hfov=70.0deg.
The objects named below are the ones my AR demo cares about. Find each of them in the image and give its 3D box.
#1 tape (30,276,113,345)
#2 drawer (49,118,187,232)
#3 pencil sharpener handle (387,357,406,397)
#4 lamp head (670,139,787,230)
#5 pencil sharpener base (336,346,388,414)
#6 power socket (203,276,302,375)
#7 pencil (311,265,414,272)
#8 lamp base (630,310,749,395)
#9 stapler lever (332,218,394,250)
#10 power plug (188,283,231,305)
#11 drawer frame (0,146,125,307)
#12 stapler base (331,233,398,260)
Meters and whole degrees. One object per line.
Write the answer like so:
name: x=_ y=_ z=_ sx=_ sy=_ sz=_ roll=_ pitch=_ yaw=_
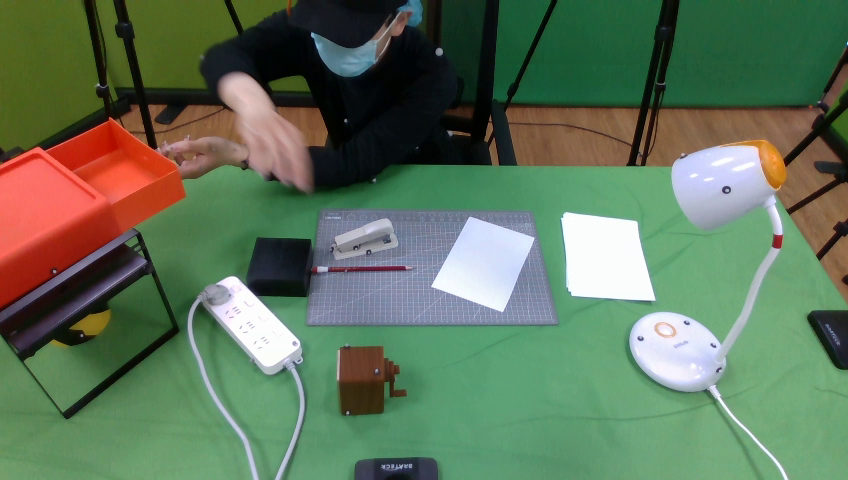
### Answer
tape: x=-0.594 y=0.117 z=1.022 sx=0.117 sy=0.053 sz=0.116 roll=2 pitch=45 yaw=-2
drawer: x=-0.523 y=-0.085 z=0.954 sx=0.193 sy=0.073 sz=0.211 roll=33 pitch=53 yaw=24
pencil sharpener handle: x=-0.041 y=0.209 z=0.919 sx=0.031 sy=0.068 sz=0.036 roll=-1 pitch=24 yaw=-6
lamp head: x=0.415 y=-0.079 z=0.812 sx=0.113 sy=0.123 sz=0.112 roll=13 pitch=70 yaw=-37
pencil sharpener base: x=-0.094 y=0.215 z=0.927 sx=0.077 sy=0.107 sz=0.061 roll=-1 pitch=46 yaw=-6
power socket: x=-0.297 y=0.141 z=1.034 sx=0.072 sy=0.033 sz=0.225 roll=-34 pitch=58 yaw=-30
pencil: x=-0.115 y=0.055 z=1.143 sx=0.194 sy=0.012 sz=0.012 roll=1 pitch=46 yaw=-5
lamp base: x=0.447 y=0.143 z=0.984 sx=0.161 sy=0.181 sz=0.178 roll=-24 pitch=55 yaw=-24
stapler lever: x=-0.116 y=-0.012 z=1.162 sx=0.118 sy=0.040 sz=0.026 roll=-13 pitch=47 yaw=-14
power plug: x=-0.368 y=0.099 z=1.037 sx=0.072 sy=0.053 sz=0.035 roll=-23 pitch=52 yaw=-25
drawer frame: x=-0.596 y=-0.023 z=0.886 sx=0.201 sy=0.083 sz=0.213 roll=31 pitch=52 yaw=23
stapler base: x=-0.116 y=0.004 z=1.181 sx=0.131 sy=0.024 sz=0.041 roll=-13 pitch=48 yaw=-14
